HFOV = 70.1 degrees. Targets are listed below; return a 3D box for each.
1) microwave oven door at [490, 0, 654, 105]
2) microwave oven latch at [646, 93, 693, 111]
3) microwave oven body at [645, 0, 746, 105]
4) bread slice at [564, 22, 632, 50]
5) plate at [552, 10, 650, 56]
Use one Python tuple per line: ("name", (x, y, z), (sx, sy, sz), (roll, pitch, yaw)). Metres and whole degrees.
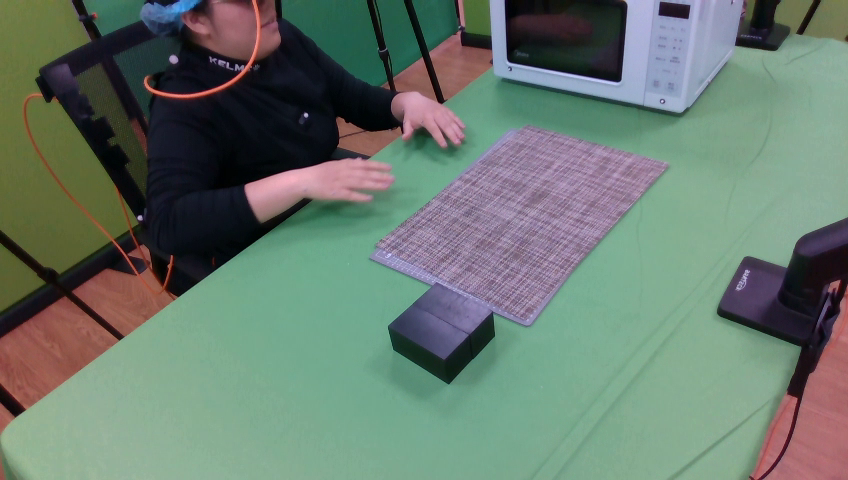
("microwave oven door", (0.293, -0.420, 1.228), (0.353, 0.245, 0.039), (22, 49, 32))
("microwave oven latch", (0.477, -0.273, 1.177), (0.078, 0.029, 0.030), (22, 50, 33))
("microwave oven body", (0.416, -0.486, 1.290), (0.438, 0.261, 0.327), (21, 50, 33))
("bread slice", (0.394, -0.454, 1.344), (0.105, 0.019, 0.130), (-35, 43, -26))
("plate", (0.390, -0.455, 1.339), (0.209, 0.038, 0.208), (-6, 39, 5))
